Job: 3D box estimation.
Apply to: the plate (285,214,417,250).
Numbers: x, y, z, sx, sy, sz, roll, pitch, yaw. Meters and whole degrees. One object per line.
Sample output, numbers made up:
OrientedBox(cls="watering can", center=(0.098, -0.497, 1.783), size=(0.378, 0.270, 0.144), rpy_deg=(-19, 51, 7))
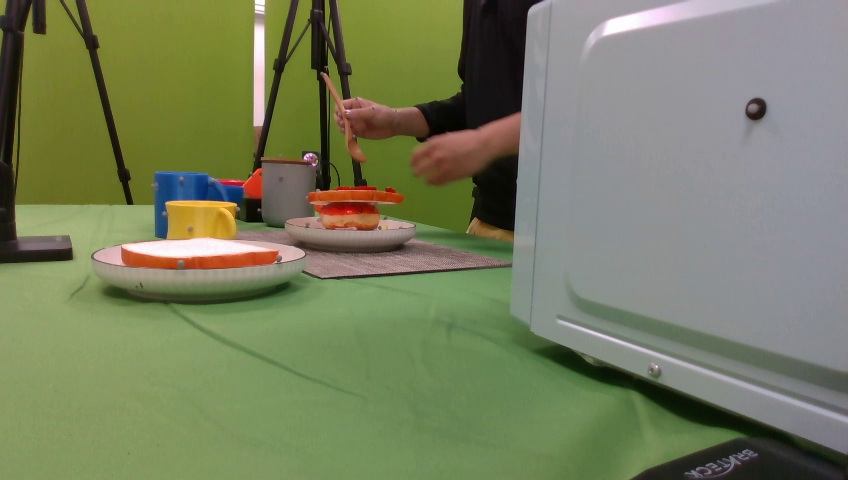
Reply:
OrientedBox(cls="plate", center=(-0.116, -0.014, 0.964), size=(0.209, 0.038, 0.209), rpy_deg=(2, 8, 0))

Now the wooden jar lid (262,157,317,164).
OrientedBox(cls="wooden jar lid", center=(-0.269, -0.154, 1.208), size=(0.108, 0.020, 0.108), rpy_deg=(3, 5, 0))

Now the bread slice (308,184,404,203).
OrientedBox(cls="bread slice", center=(-0.114, -0.072, 0.953), size=(0.134, 0.018, 0.107), rpy_deg=(-3, -1, 21))

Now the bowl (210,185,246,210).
OrientedBox(cls="bowl", center=(-0.422, -0.067, 1.167), size=(0.151, 0.077, 0.151), rpy_deg=(2, 7, 0))

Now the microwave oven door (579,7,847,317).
OrientedBox(cls="microwave oven door", center=(0.294, -0.067, 0.570), size=(0.358, 0.243, 0.039), rpy_deg=(-3, 9, -31))

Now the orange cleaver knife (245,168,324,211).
OrientedBox(cls="orange cleaver knife", center=(-0.300, -0.089, 1.352), size=(0.212, 0.077, 0.012), rpy_deg=(28, -9, -34))

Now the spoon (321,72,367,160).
OrientedBox(cls="spoon", center=(-0.154, -0.236, 1.151), size=(0.021, 0.193, 0.042), rpy_deg=(-26, -9, 32))

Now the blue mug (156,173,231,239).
OrientedBox(cls="blue mug", center=(-0.381, -0.057, 1.004), size=(0.117, 0.106, 0.082), rpy_deg=(0, 8, -12))

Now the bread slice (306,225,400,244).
OrientedBox(cls="bread slice", center=(-0.103, -0.010, 0.961), size=(0.131, 0.019, 0.105), rpy_deg=(3, 8, 25))

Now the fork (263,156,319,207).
OrientedBox(cls="fork", center=(-0.331, -0.144, 1.505), size=(0.207, 0.018, 0.028), rpy_deg=(-42, -21, 22))

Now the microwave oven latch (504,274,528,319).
OrientedBox(cls="microwave oven latch", center=(0.100, 0.041, 0.471), size=(0.079, 0.029, 0.030), rpy_deg=(-1, 7, -28))

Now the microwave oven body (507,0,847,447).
OrientedBox(cls="microwave oven body", center=(0.331, -0.042, 0.425), size=(0.444, 0.260, 0.324), rpy_deg=(-2, 8, -31))

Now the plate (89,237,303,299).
OrientedBox(cls="plate", center=(-0.233, 0.029, 0.637), size=(0.208, 0.039, 0.207), rpy_deg=(2, 7, 0))

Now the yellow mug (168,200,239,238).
OrientedBox(cls="yellow mug", center=(-0.320, -0.023, 0.904), size=(0.130, 0.064, 0.100), rpy_deg=(9, 11, 36))

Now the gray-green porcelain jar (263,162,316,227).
OrientedBox(cls="gray-green porcelain jar", center=(-0.271, -0.092, 1.217), size=(0.106, 0.126, 0.106), rpy_deg=(2, 7, 0))

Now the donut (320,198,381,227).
OrientedBox(cls="donut", center=(-0.117, -0.042, 0.965), size=(0.099, 0.048, 0.099), rpy_deg=(-9, -7, -1))
